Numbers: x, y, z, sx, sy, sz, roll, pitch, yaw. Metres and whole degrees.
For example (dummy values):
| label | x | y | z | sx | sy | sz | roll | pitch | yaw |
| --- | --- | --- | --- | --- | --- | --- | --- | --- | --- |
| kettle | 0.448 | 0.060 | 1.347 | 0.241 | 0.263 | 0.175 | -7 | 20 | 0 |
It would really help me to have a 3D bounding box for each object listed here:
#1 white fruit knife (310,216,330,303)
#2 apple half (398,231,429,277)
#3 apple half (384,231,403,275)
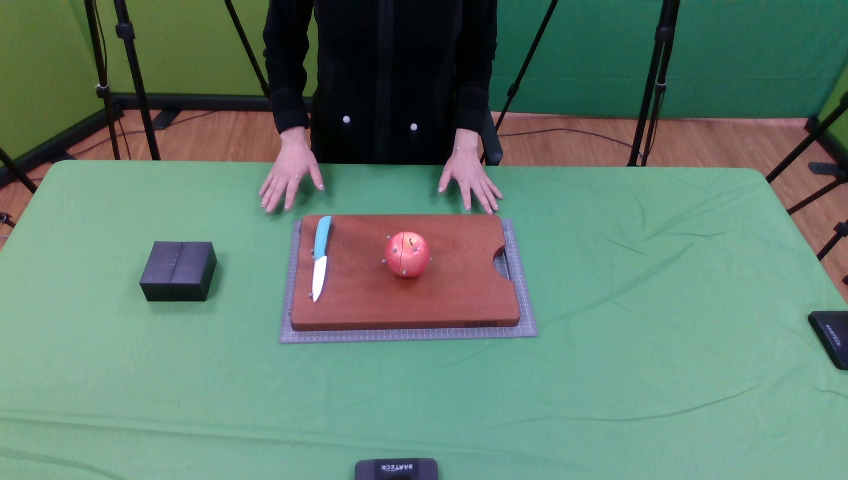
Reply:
| label | x | y | z | sx | sy | sz | roll | pitch | yaw |
| --- | --- | --- | --- | --- | --- | --- | --- | --- | --- |
| white fruit knife | -0.194 | 0.032 | 1.116 | 0.027 | 0.016 | 0.206 | -8 | 47 | 7 |
| apple half | -0.018 | 0.028 | 1.095 | 0.053 | 0.075 | 0.080 | 6 | 42 | -4 |
| apple half | -0.056 | 0.025 | 1.093 | 0.033 | 0.081 | 0.081 | 5 | 46 | -2 |
